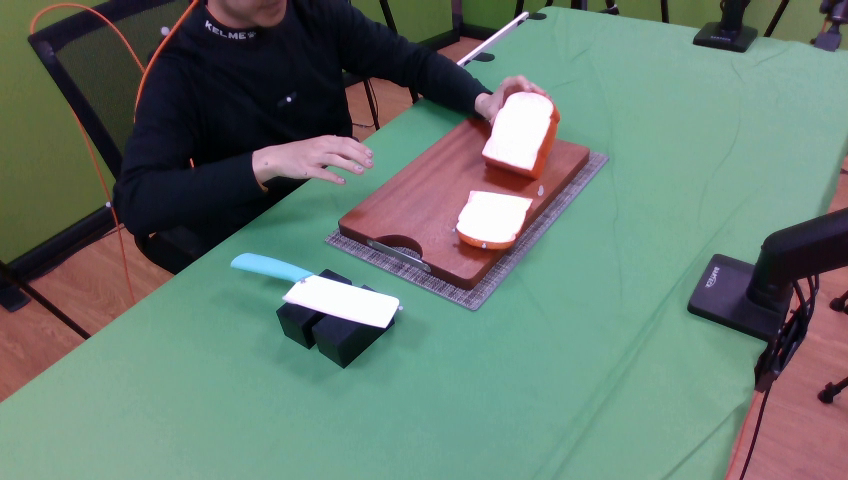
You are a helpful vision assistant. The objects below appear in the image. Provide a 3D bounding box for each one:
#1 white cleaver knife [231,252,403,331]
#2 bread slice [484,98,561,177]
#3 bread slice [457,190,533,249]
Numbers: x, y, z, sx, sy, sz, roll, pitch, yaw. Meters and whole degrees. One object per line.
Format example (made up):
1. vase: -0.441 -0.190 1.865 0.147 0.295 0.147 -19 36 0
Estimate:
1. white cleaver knife: -0.163 0.067 0.849 0.284 0.021 0.066 13 45 25
2. bread slice: 0.178 -0.183 1.052 0.106 0.018 0.134 26 86 30
3. bread slice: 0.106 -0.032 0.945 0.104 0.019 0.131 12 40 16
